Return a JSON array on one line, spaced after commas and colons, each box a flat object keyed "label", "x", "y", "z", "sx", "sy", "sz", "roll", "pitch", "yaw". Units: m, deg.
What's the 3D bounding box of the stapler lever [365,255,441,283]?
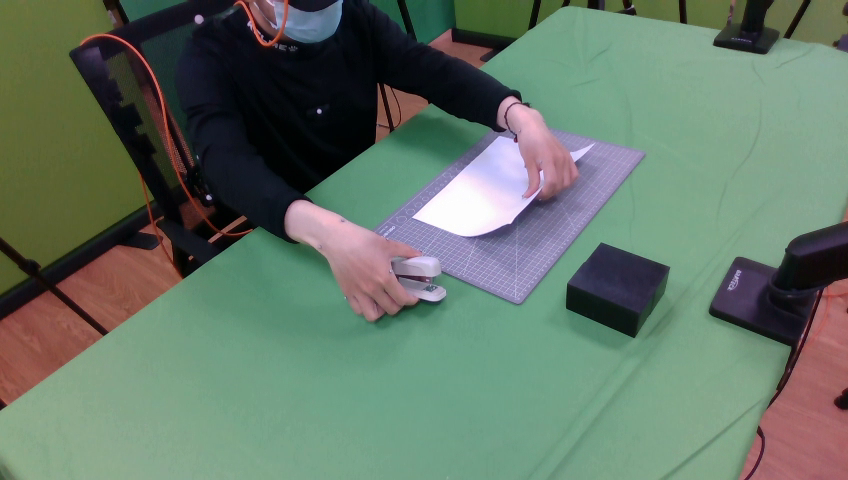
[{"label": "stapler lever", "x": -0.030, "y": 0.036, "z": 0.881, "sx": 0.117, "sy": 0.040, "sz": 0.027, "roll": 10, "pitch": 17, "yaw": 26}]

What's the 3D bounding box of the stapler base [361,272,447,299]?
[{"label": "stapler base", "x": -0.029, "y": 0.059, "z": 0.888, "sx": 0.130, "sy": 0.024, "sz": 0.041, "roll": 9, "pitch": 16, "yaw": 26}]
